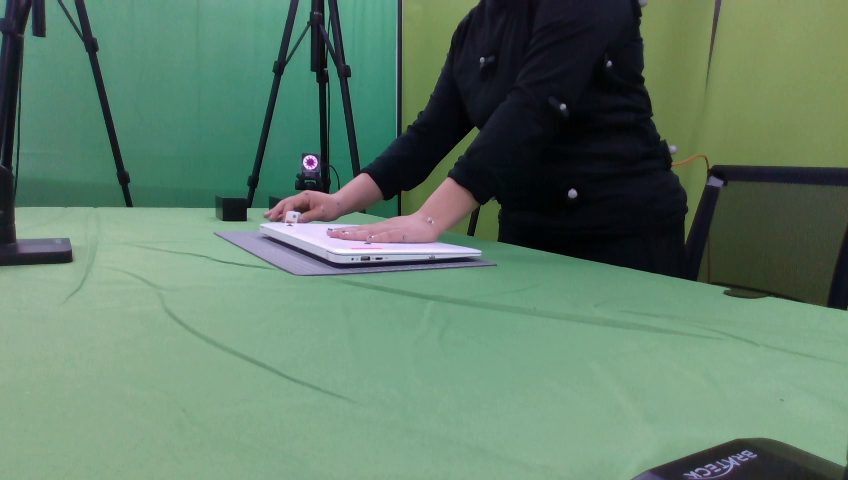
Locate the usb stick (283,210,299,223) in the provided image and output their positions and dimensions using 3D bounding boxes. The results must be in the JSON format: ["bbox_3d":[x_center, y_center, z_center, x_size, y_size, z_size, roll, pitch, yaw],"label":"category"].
[{"bbox_3d":[-0.248,-0.040,1.123,0.021,0.027,0.059,10,9,-5],"label":"usb stick"}]

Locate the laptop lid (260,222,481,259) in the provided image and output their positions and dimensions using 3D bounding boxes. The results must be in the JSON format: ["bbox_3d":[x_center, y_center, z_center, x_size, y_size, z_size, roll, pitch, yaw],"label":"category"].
[{"bbox_3d":[-0.100,-0.003,0.962,0.243,0.013,0.355,2,7,-30],"label":"laptop lid"}]

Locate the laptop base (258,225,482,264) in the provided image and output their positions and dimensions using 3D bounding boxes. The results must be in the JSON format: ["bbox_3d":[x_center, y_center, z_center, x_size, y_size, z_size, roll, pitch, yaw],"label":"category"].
[{"bbox_3d":[-0.103,0.007,0.962,0.237,0.023,0.352,3,6,-32],"label":"laptop base"}]
